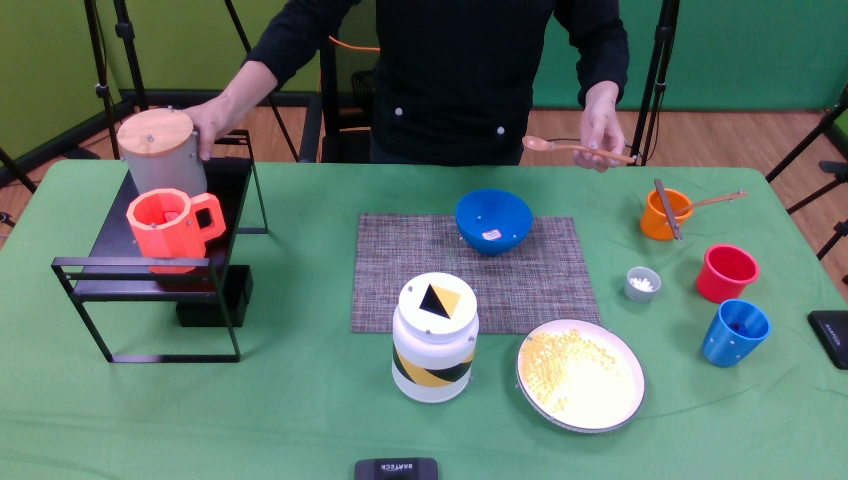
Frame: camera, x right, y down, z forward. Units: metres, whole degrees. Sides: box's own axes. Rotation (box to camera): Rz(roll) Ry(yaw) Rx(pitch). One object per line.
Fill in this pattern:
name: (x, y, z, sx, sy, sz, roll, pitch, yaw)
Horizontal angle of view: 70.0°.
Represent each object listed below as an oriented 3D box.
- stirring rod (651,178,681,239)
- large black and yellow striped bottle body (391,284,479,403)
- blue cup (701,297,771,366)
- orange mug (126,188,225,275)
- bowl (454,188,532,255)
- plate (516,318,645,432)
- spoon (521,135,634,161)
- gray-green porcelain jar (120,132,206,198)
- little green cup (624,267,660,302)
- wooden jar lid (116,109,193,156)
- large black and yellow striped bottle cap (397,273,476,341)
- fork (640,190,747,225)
stirring rod: (0.480, -0.065, 1.204, 0.014, 0.006, 0.175, 2, 46, -2)
large black and yellow striped bottle body: (0.015, 0.153, 0.938, 0.131, 0.185, 0.130, 2, 46, -2)
blue cup: (0.519, 0.162, 1.025, 0.093, 0.101, 0.092, 3, 45, -3)
orange mug: (-0.357, -0.019, 0.885, 0.126, 0.101, 0.083, -29, 54, -23)
bowl: (0.131, -0.025, 1.186, 0.151, 0.077, 0.150, 2, 46, -2)
plate: (0.253, 0.221, 0.992, 0.209, 0.038, 0.208, 2, 46, -2)
spoon: (0.246, -0.150, 0.987, 0.193, 0.022, 0.041, 15, 34, 36)
gray-green porcelain jar: (-0.406, -0.115, 0.954, 0.106, 0.127, 0.105, 3, 46, -3)
little green cup: (0.406, 0.084, 1.135, 0.061, 0.039, 0.061, 3, 45, -3)
wooden jar lid: (-0.402, -0.158, 0.909, 0.108, 0.021, 0.107, 2, 47, -2)
large black and yellow striped bottle cap: (0.018, 0.094, 0.878, 0.115, 0.019, 0.114, 3, 46, -3)
fork: (0.533, -0.064, 1.211, 0.207, 0.019, 0.028, -22, 28, 38)
